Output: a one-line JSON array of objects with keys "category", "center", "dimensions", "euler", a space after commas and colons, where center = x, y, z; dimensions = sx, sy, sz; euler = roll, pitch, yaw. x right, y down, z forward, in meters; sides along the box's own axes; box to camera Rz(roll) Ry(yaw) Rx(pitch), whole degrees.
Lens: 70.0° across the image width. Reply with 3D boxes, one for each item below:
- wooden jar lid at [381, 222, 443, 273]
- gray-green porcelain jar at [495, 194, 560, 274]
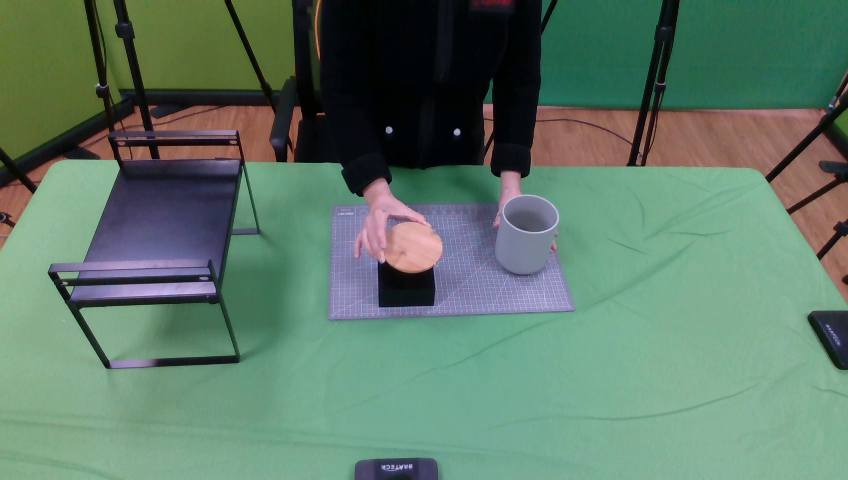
[{"category": "wooden jar lid", "center": [-0.022, 0.015, 1.060], "dimensions": [0.108, 0.021, 0.107], "euler": [4, 52, -4]}, {"category": "gray-green porcelain jar", "center": [0.191, -0.007, 1.140], "dimensions": [0.106, 0.127, 0.105], "euler": [2, 46, -2]}]
